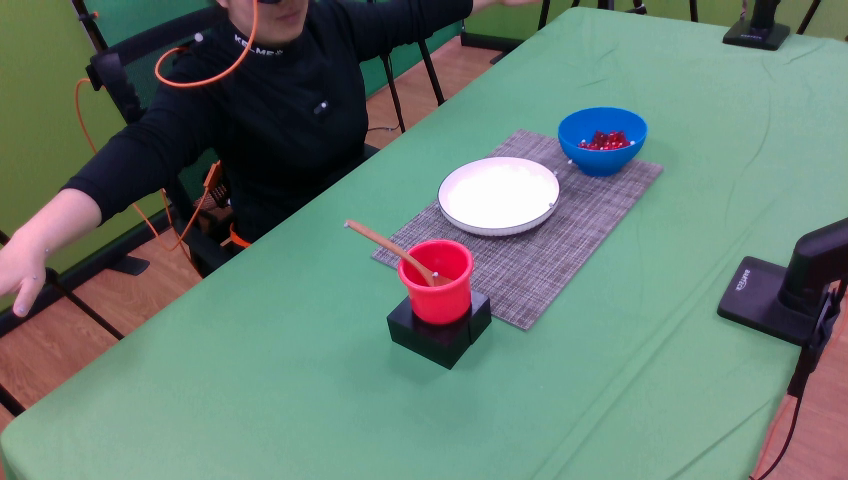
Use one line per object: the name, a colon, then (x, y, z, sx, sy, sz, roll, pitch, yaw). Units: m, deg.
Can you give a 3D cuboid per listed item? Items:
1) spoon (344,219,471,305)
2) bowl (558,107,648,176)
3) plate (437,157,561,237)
spoon: (-0.020, 0.026, 0.781, 0.194, 0.021, 0.041, 37, 43, -14)
bowl: (0.313, -0.165, 1.069, 0.151, 0.077, 0.150, -5, 40, 5)
plate: (0.127, -0.070, 1.023, 0.207, 0.039, 0.206, -5, 40, 5)
